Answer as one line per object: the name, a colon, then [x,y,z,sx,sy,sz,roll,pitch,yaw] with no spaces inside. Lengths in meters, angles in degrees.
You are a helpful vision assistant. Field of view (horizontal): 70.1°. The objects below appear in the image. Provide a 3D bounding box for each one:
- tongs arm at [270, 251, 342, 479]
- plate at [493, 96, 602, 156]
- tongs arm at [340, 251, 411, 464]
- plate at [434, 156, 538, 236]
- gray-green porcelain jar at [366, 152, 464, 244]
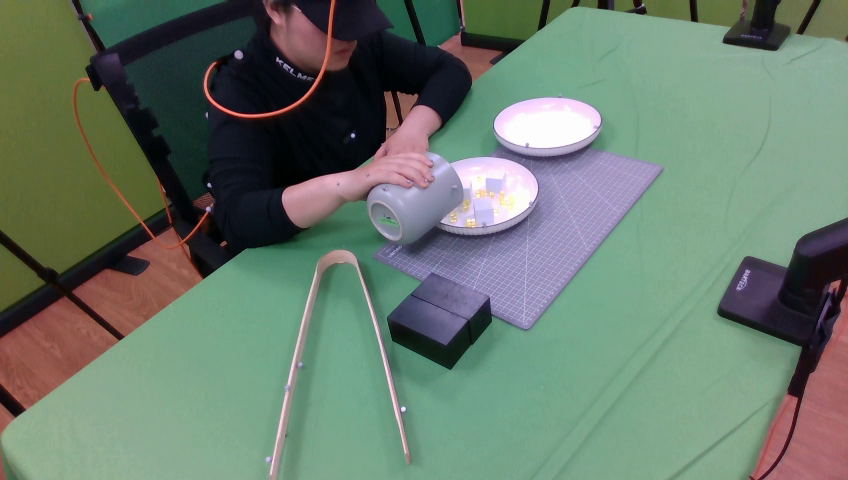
tongs arm: [-0.152,0.148,0.826,0.051,0.026,0.382,-6,39,3]
plate: [0.239,-0.218,1.180,0.209,0.038,0.208,-5,39,4]
tongs arm: [-0.070,0.136,0.830,0.028,0.028,0.384,-18,40,-6]
plate: [0.091,-0.072,1.034,0.207,0.039,0.206,-5,40,5]
gray-green porcelain jar: [-0.018,-0.062,0.933,0.105,0.106,0.127,25,50,34]
